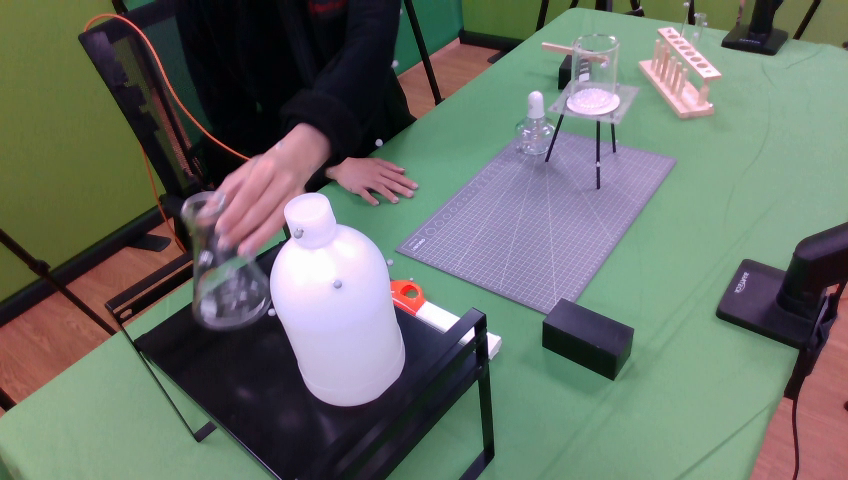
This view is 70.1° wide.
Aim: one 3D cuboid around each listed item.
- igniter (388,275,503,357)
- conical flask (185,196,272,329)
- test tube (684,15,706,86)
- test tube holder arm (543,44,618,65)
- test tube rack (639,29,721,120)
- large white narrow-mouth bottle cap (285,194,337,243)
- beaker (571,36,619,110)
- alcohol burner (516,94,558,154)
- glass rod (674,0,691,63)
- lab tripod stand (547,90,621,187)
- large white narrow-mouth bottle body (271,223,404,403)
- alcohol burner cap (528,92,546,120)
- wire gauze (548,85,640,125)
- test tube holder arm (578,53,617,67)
[{"bbox_3d":[-0.008,0.093,0.870,0.274,0.025,0.057,24,60,33],"label":"igniter"},{"bbox_3d":[-0.192,0.019,0.574,0.075,0.122,0.075,-2,34,2],"label":"conical flask"},{"bbox_3d":[0.541,-0.378,1.215,0.017,0.151,0.017,-2,44,3],"label":"test tube"},{"bbox_3d":[0.344,-0.412,1.340,0.177,0.015,0.013,25,50,31],"label":"test tube holder arm"},{"bbox_3d":[0.527,-0.351,1.262,0.067,0.085,0.241,-8,40,1],"label":"test tube rack"},{"bbox_3d":[-0.087,-0.017,0.467,0.038,0.024,0.037,-4,40,4],"label":"large white narrow-mouth bottle cap"},{"bbox_3d":[0.281,-0.273,0.992,0.084,0.101,0.073,-24,42,-16],"label":"beaker"},{"bbox_3d":[0.212,-0.222,1.134,0.078,0.119,0.077,-5,43,5],"label":"alcohol burner"},{"bbox_3d":[0.537,-0.437,1.257,0.008,0.200,0.008,0,39,1],"label":"glass rod"},{"bbox_3d":[0.289,-0.185,1.063,0.148,0.132,0.147,-6,41,5],"label":"lab tripod stand"},{"bbox_3d":[-0.077,0.048,0.525,0.102,0.195,0.101,-5,40,4],"label":"large white narrow-mouth bottle body"},{"bbox_3d":[0.206,-0.249,1.112,0.034,0.048,0.033,-6,34,5],"label":"alcohol burner cap"},{"bbox_3d":[0.286,-0.233,1.020,0.124,0.011,0.122,15,43,30],"label":"wire gauze"},{"bbox_3d":[0.376,-0.393,1.314,0.087,0.015,0.010,25,51,32],"label":"test tube holder arm"}]
